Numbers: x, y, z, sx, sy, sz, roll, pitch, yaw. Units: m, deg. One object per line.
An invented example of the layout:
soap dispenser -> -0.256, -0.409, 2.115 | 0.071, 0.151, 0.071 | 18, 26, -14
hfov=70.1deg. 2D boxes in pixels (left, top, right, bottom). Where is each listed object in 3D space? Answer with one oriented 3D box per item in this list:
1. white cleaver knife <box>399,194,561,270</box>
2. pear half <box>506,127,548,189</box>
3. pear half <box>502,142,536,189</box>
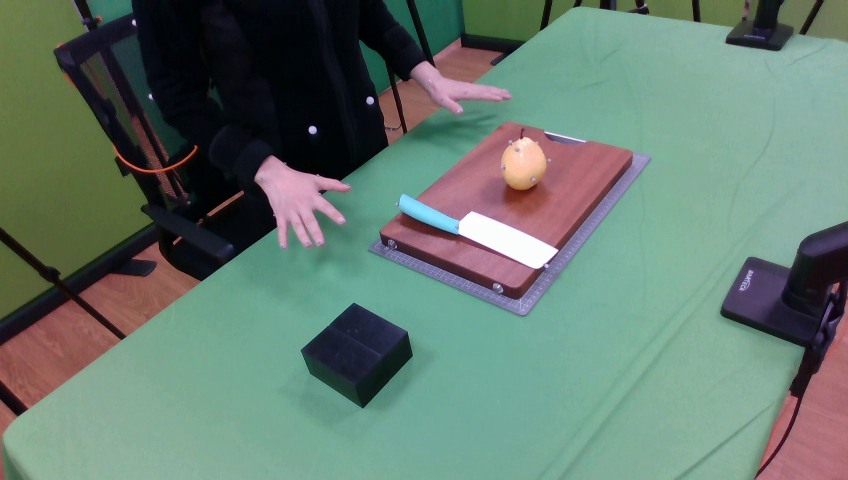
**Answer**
white cleaver knife -> 0.079, -0.019, 0.957 | 0.284, 0.021, 0.066 | 26, 46, 28
pear half -> 0.174, -0.145, 1.011 | 0.076, 0.110, 0.056 | 27, 52, 30
pear half -> 0.152, -0.119, 1.000 | 0.070, 0.088, 0.031 | 28, 53, 30
